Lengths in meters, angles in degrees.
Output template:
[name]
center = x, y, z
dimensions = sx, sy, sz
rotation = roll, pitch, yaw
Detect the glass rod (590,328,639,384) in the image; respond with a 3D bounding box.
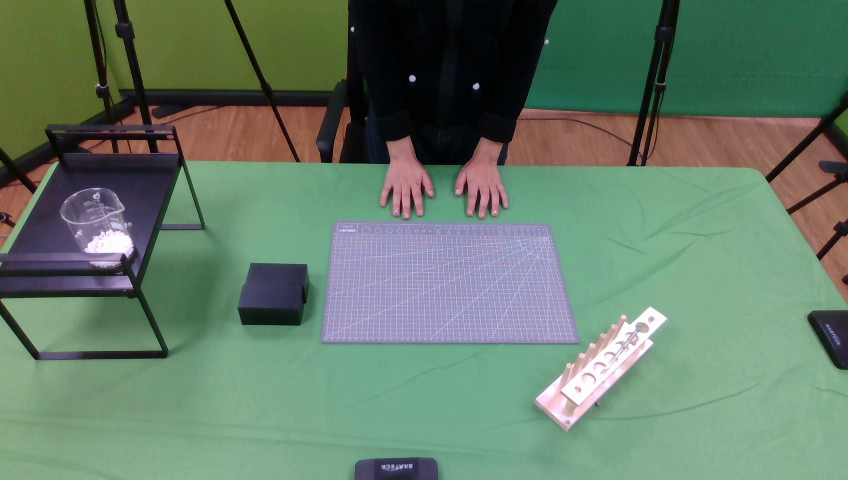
[glass rod]
center = 0.279, 0.182, 0.902
dimensions = 0.008, 0.200, 0.008
rotation = 4, 52, -6

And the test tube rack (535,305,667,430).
[test tube rack]
center = 0.290, 0.193, 0.984
dimensions = 0.242, 0.085, 0.066
rotation = -32, 56, -30

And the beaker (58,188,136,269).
[beaker]
center = -0.462, -0.014, 0.871
dimensions = 0.084, 0.101, 0.073
rotation = -1, 47, -5
